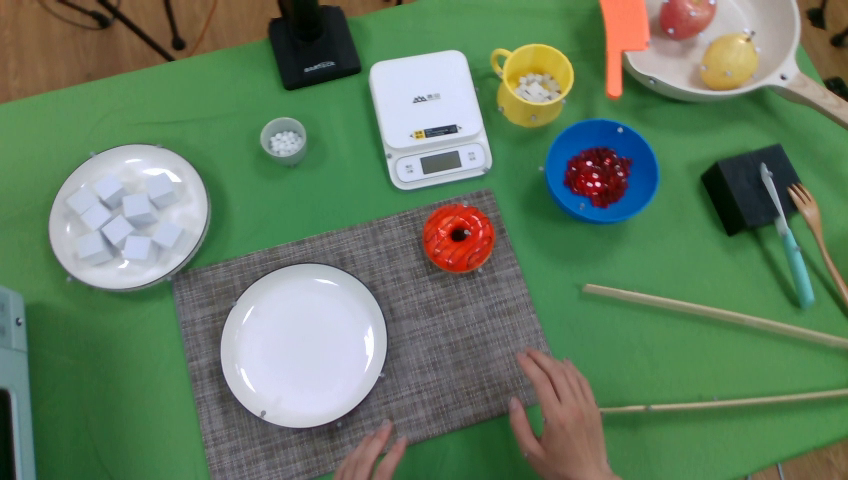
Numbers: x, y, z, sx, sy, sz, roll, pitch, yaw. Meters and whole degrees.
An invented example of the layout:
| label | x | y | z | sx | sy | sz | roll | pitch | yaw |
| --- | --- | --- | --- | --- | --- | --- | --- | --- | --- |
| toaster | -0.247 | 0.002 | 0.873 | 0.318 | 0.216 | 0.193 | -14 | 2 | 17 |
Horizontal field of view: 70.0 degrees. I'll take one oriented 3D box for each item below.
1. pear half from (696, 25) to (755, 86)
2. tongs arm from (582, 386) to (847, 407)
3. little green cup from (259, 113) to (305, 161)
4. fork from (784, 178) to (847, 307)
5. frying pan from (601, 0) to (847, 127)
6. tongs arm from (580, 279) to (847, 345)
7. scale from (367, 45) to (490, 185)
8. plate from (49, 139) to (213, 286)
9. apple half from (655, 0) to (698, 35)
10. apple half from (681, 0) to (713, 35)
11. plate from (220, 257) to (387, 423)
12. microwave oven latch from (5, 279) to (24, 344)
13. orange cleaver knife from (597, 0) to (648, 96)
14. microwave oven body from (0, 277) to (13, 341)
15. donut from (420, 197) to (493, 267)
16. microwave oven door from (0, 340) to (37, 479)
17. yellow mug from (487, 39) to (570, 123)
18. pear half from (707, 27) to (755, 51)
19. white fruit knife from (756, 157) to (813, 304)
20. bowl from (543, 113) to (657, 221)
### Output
| label | x | y | z | sx | sy | sz | roll | pitch | yaw |
| --- | --- | --- | --- | --- | --- | --- | --- | --- | --- |
| pear half | 0.439 | -0.265 | 0.873 | 0.076 | 0.110 | 0.055 | 19 | 73 | 8 |
| tongs arm | 0.393 | 0.183 | 0.775 | 0.385 | 0.027 | 0.050 | -1 | 69 | -3 |
| little green cup | -0.198 | -0.143 | 0.855 | 0.061 | 0.039 | 0.061 | 1 | 72 | -1 |
| fork | 0.542 | 0.011 | 0.820 | 0.028 | 0.018 | 0.207 | -25 | 91 | -11 |
| frying pan | 0.475 | -0.273 | 0.885 | 0.306 | 0.103 | 0.484 | -43 | 71 | -12 |
| tongs arm | 0.399 | 0.102 | 0.804 | 0.387 | 0.028 | 0.028 | 13 | 65 | 2 |
| scale | 0.005 | -0.184 | 0.879 | 0.149 | 0.032 | 0.199 | -12 | 74 | -5 |
| plate | -0.387 | -0.036 | 0.815 | 0.208 | 0.039 | 0.206 | 1 | 73 | -2 |
| apple half | 0.370 | -0.342 | 0.912 | 0.033 | 0.081 | 0.081 | -24 | 74 | -13 |
| apple half | 0.404 | -0.358 | 0.920 | 0.053 | 0.075 | 0.080 | -24 | 71 | -13 |
| plate | -0.150 | 0.125 | 0.769 | 0.209 | 0.038 | 0.208 | 1 | 73 | -2 |
| microwave oven latch | -0.518 | 0.090 | 0.751 | 0.030 | 0.029 | 0.078 | -12 | 74 | -6 |
| orange cleaver knife | 0.282 | -0.301 | 0.868 | 0.077 | 0.012 | 0.210 | 2 | 73 | -1 |
| microwave oven body | -0.615 | 0.258 | 0.595 | 0.326 | 0.261 | 0.439 | -13 | 74 | -7 |
| donut | 0.043 | -0.011 | 0.815 | 0.099 | 0.048 | 0.098 | 0 | 74 | 0 |
| microwave oven door | -0.463 | 0.262 | 0.593 | 0.039 | 0.245 | 0.353 | -14 | 73 | -6 |
| yellow mug | 0.144 | -0.240 | 0.883 | 0.130 | 0.064 | 0.100 | 39 | 76 | 11 |
| pear half | 0.453 | -0.293 | 0.893 | 0.070 | 0.088 | 0.031 | 18 | 74 | 6 |
| white fruit knife | 0.484 | -0.013 | 0.817 | 0.016 | 0.027 | 0.207 | -18 | 89 | -7 |
| bowl | 0.231 | -0.089 | 0.833 | 0.151 | 0.077 | 0.150 | 1 | 73 | -2 |
